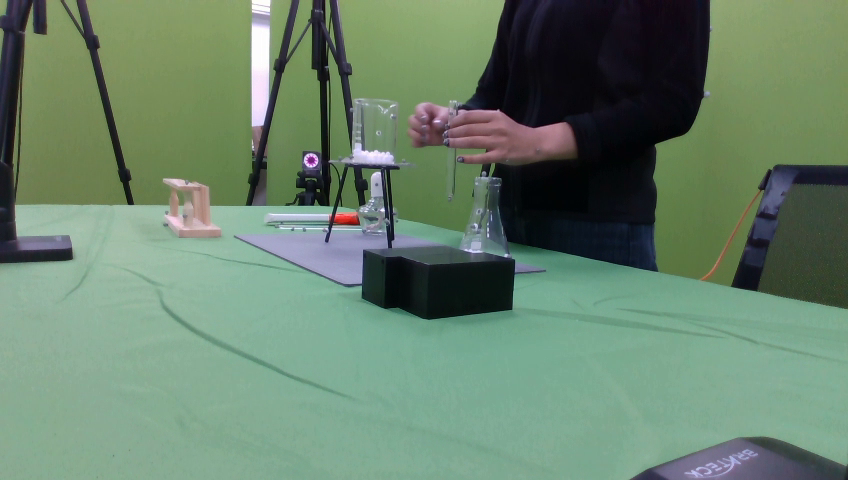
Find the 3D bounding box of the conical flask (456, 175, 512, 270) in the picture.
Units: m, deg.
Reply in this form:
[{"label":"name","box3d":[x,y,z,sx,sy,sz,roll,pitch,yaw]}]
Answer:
[{"label":"conical flask","box3d":[0.082,-0.025,0.801,0.075,0.122,0.075,2,7,0]}]

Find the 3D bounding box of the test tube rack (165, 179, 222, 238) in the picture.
[{"label":"test tube rack","box3d":[-0.423,-0.062,1.098,0.067,0.085,0.241,-2,9,-28]}]

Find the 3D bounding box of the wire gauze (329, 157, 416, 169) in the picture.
[{"label":"wire gauze","box3d":[-0.079,-0.125,0.972,0.121,0.011,0.125,6,6,5]}]

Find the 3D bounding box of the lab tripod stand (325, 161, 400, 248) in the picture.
[{"label":"lab tripod stand","box3d":[-0.083,-0.059,0.977,0.148,0.131,0.148,4,8,0]}]

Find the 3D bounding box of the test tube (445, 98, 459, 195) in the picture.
[{"label":"test tube","box3d":[0.044,-0.145,0.944,0.017,0.150,0.017,2,5,0]}]

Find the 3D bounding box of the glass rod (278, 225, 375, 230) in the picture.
[{"label":"glass rod","box3d":[-0.186,-0.024,1.178,0.201,0.008,0.008,1,6,-31]}]

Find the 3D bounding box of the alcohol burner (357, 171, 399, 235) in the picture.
[{"label":"alcohol burner","box3d":[-0.085,-0.069,1.125,0.078,0.119,0.078,3,10,0]}]

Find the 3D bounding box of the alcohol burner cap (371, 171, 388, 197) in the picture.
[{"label":"alcohol burner cap","box3d":[-0.085,-0.104,1.120,0.034,0.048,0.034,-4,8,1]}]

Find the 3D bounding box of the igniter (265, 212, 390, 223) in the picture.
[{"label":"igniter","box3d":[-0.196,-0.048,1.286,0.278,0.025,0.057,-2,-2,-30]}]

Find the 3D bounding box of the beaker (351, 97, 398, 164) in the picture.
[{"label":"beaker","box3d":[-0.078,-0.172,0.962,0.074,0.100,0.084,6,8,19]}]
